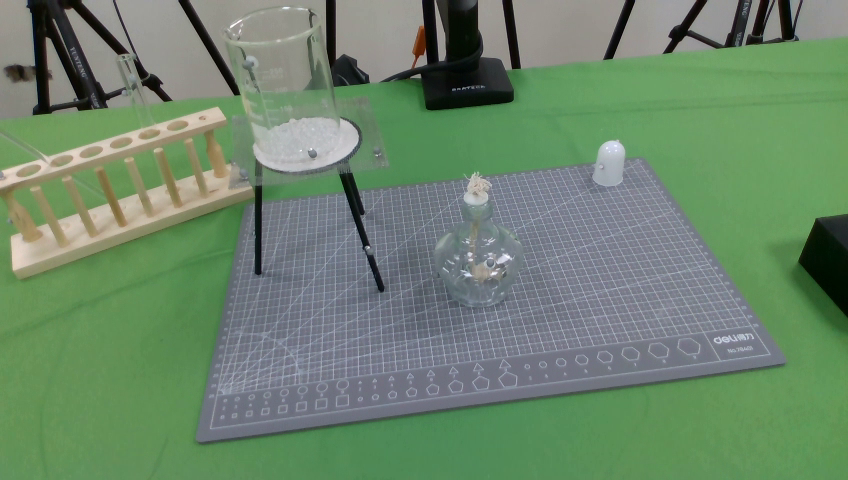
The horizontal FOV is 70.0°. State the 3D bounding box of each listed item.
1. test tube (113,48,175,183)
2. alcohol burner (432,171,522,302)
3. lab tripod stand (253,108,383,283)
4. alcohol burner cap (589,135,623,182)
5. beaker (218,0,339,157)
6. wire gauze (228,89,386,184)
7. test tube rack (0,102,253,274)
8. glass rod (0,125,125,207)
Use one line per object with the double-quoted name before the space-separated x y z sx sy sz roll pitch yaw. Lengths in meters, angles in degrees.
"test tube" -0.289 -0.124 0.629 0.017 0.151 0.017 -2 38 2
"alcohol burner" 0.044 -0.006 0.510 0.078 0.120 0.077 -3 39 3
"lab tripod stand" -0.096 -0.038 0.546 0.148 0.133 0.147 -3 43 3
"alcohol burner cap" 0.196 -0.090 0.648 0.034 0.048 0.033 -3 41 3
"beaker" -0.110 -0.123 0.469 0.083 0.101 0.073 14 44 22
"wire gauze" -0.101 -0.087 0.503 0.125 0.011 0.120 -13 39 -4
"test tube rack" -0.315 -0.059 0.633 0.243 0.086 0.066 -23 44 -20
"glass rod" -0.376 -0.086 0.584 0.008 0.202 0.008 -18 51 24
